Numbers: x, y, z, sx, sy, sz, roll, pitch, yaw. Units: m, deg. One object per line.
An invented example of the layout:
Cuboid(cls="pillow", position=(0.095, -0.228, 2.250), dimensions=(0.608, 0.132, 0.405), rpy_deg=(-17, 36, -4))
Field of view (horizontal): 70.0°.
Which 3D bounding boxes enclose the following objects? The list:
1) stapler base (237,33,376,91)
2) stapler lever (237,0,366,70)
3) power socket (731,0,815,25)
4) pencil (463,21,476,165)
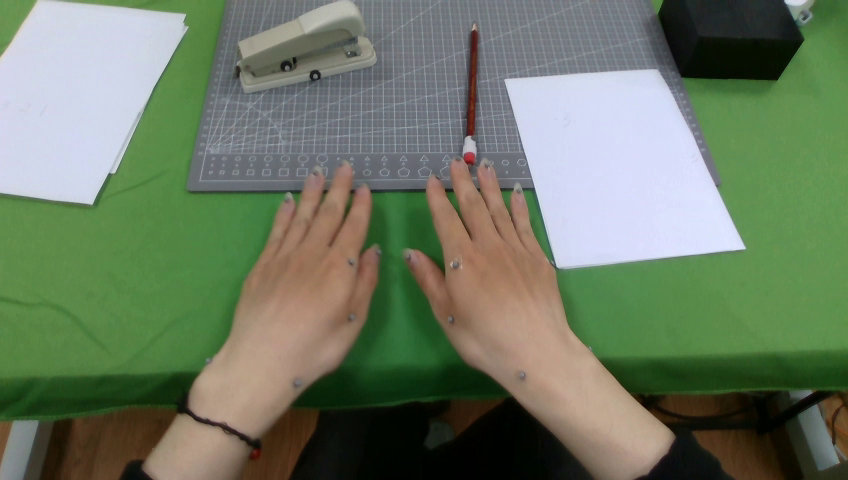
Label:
Cuboid(cls="stapler base", position=(-0.110, -0.175, 0.570), dimensions=(0.131, 0.024, 0.041), rpy_deg=(-18, 58, -12))
Cuboid(cls="stapler lever", position=(-0.111, -0.187, 0.549), dimensions=(0.118, 0.040, 0.026), rpy_deg=(-17, 58, -13))
Cuboid(cls="power socket", position=(0.334, -0.313, 0.678), dimensions=(0.072, 0.033, 0.225), rpy_deg=(-38, 66, -24))
Cuboid(cls="pencil", position=(0.044, -0.145, 0.567), dimensions=(0.012, 0.012, 0.192), rpy_deg=(4, 56, 0))
